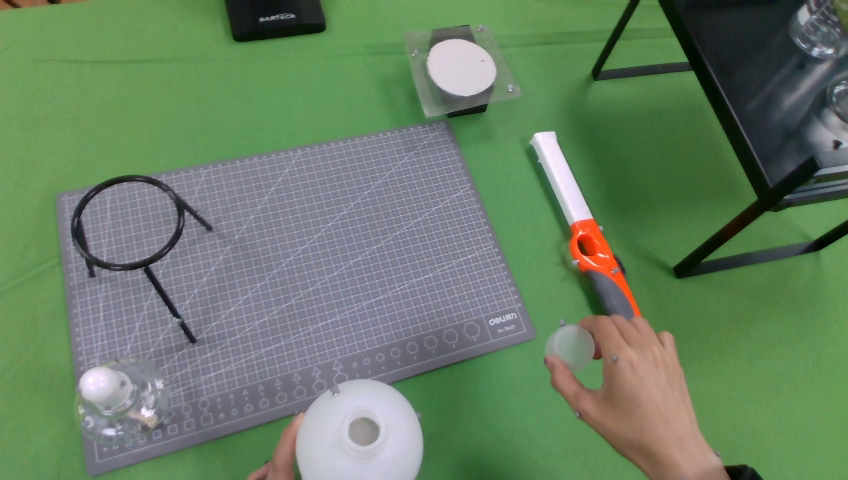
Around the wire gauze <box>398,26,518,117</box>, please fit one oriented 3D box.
[{"bbox_3d":[0.039,-0.211,0.738,0.122,0.011,0.124,-12,68,-14],"label":"wire gauze"}]

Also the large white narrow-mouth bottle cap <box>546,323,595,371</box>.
[{"bbox_3d":[0.121,0.089,0.501,0.038,0.024,0.037,3,64,-6],"label":"large white narrow-mouth bottle cap"}]

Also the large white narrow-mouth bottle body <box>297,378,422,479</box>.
[{"bbox_3d":[-0.053,0.168,0.494,0.102,0.196,0.101,3,64,-6],"label":"large white narrow-mouth bottle body"}]

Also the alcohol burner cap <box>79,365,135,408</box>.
[{"bbox_3d":[-0.257,0.117,0.487,0.034,0.048,0.033,3,70,-8],"label":"alcohol burner cap"}]

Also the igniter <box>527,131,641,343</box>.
[{"bbox_3d":[0.186,-0.012,0.710,0.057,0.025,0.274,-9,67,-24],"label":"igniter"}]

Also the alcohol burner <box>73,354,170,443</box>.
[{"bbox_3d":[-0.263,0.132,0.520,0.078,0.120,0.077,4,62,-8],"label":"alcohol burner"}]

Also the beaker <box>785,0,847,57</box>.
[{"bbox_3d":[0.430,-0.247,0.620,0.074,0.101,0.083,-6,65,-12],"label":"beaker"}]

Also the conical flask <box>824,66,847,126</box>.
[{"bbox_3d":[0.451,-0.165,0.571,0.075,0.122,0.074,4,64,-7],"label":"conical flask"}]

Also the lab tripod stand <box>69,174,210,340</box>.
[{"bbox_3d":[-0.256,0.013,0.566,0.149,0.132,0.147,4,64,-9],"label":"lab tripod stand"}]
